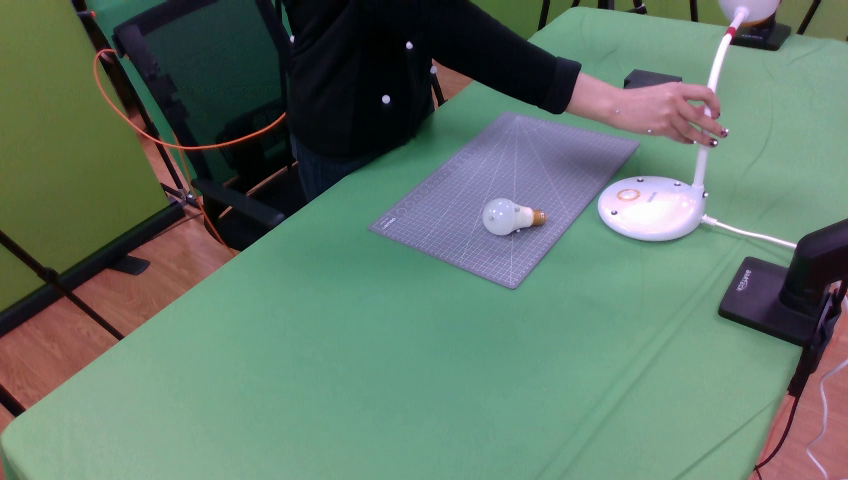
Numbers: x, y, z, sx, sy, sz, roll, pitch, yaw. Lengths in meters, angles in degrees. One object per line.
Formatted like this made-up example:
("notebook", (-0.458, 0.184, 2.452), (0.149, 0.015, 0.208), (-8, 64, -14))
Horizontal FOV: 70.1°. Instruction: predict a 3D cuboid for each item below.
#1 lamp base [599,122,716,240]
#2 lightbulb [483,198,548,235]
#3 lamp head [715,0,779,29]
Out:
("lamp base", (0.366, -0.110, 0.921), (0.178, 0.181, 0.160), (14, 45, 22))
("lightbulb", (0.148, -0.037, 0.973), (0.108, 0.059, 0.059), (1, 39, -12))
("lamp head", (0.477, -0.375, 0.890), (0.112, 0.123, 0.112), (-13, 38, 11))
